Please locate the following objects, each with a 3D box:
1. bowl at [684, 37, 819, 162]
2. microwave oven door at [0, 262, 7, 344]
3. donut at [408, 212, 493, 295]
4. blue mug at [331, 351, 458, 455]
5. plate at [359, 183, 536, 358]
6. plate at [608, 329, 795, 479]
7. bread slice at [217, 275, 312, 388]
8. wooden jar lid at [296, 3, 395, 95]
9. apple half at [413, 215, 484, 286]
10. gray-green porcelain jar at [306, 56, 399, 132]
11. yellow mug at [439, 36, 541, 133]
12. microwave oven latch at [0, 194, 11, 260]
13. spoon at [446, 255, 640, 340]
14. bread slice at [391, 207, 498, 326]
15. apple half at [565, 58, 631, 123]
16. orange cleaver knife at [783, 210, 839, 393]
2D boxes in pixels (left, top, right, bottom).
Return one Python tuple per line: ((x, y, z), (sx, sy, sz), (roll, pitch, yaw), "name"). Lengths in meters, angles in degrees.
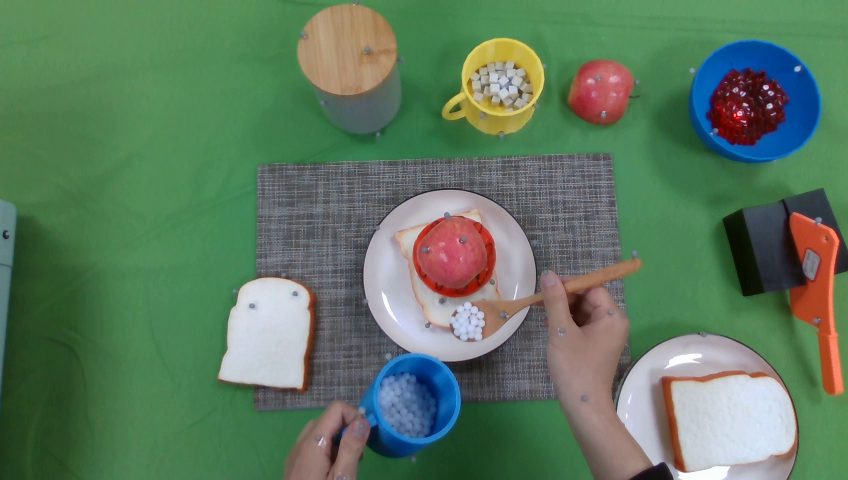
((0.383, -0.159, 0.740), (0.151, 0.077, 0.151), (0, 80, 1), "bowl")
((-0.516, 0.180, 0.587), (0.039, 0.244, 0.354), (-2, 79, 0), "microwave oven door")
((0.031, 0.016, 0.701), (0.099, 0.048, 0.098), (0, 80, 1), "donut")
((-0.035, 0.167, 0.586), (0.117, 0.106, 0.082), (-19, 72, -23), "blue mug")
((0.027, 0.037, 0.725), (0.208, 0.039, 0.207), (0, 80, 1), "plate")
((0.313, 0.207, 0.696), (0.209, 0.038, 0.208), (0, 80, 1), "plate")
((-0.189, 0.107, 0.726), (0.105, 0.019, 0.131), (5, 81, 1), "bread slice")
((-0.085, -0.207, 0.666), (0.108, 0.021, 0.108), (0, 78, 1), "wooden jar lid")
((0.028, 0.011, 0.666), (0.081, 0.033, 0.081), (-1, 81, 7), "apple half")
((-0.084, -0.195, 0.727), (0.106, 0.127, 0.105), (0, 79, 1), "gray-green porcelain jar")
((0.078, -0.185, 0.754), (0.131, 0.064, 0.099), (-26, 80, -3), "yellow mug")
((-0.518, -0.017, 0.724), (0.030, 0.029, 0.079), (2, 80, 1), "microwave oven latch")
((0.108, 0.053, 0.573), (0.193, 0.022, 0.041), (-23, 71, 24), "spoon")
((0.032, 0.035, 0.727), (0.107, 0.018, 0.133), (-19, 80, -2), "bread slice")
((0.220, -0.195, 0.761), (0.074, 0.053, 0.080), (20, 81, 7), "apple half")
((0.444, 0.070, 0.697), (0.012, 0.077, 0.212), (-13, 102, -8), "orange cleaver knife")
